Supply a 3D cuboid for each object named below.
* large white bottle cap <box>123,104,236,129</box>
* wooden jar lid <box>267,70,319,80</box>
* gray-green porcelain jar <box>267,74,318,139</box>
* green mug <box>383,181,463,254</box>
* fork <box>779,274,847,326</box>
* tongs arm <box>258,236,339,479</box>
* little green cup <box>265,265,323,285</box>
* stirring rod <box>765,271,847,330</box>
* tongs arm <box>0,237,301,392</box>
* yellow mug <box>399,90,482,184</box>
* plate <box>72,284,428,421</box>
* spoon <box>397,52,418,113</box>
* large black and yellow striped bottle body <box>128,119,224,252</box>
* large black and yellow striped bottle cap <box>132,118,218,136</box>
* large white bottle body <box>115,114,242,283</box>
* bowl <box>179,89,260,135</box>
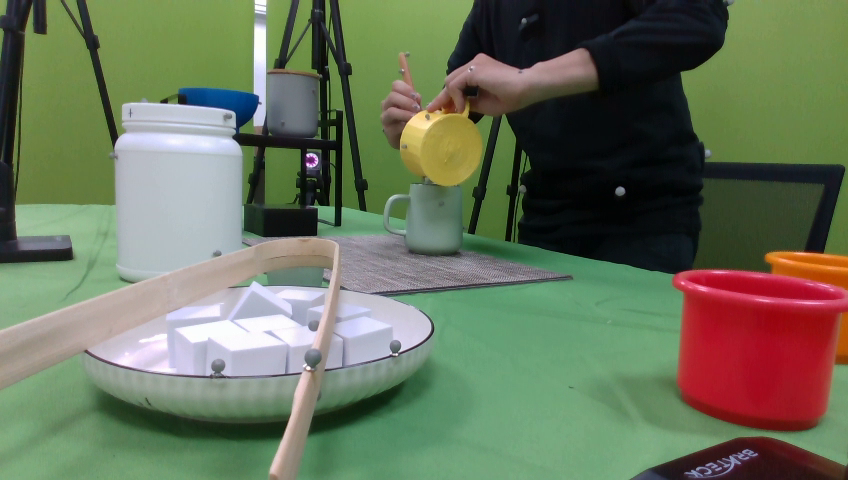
[{"bbox_3d":[-0.266,-0.135,0.663,0.115,0.018,0.115,3,7,0],"label":"large white bottle cap"},{"bbox_3d":[-0.275,-0.340,1.271,0.108,0.020,0.108,5,6,0],"label":"wooden jar lid"},{"bbox_3d":[-0.277,-0.279,1.280,0.106,0.126,0.106,2,7,0],"label":"gray-green porcelain jar"},{"bbox_3d":[-0.001,-0.036,0.922,0.126,0.105,0.092,0,8,-16],"label":"green mug"},{"bbox_3d":[0.332,0.018,0.443,0.028,0.018,0.207,-2,-35,-16],"label":"fork"},{"bbox_3d":[-0.074,0.040,0.345,0.051,0.026,0.384,-1,9,-3],"label":"tongs arm"},{"bbox_3d":[-0.134,0.033,0.628,0.061,0.038,0.061,3,7,0],"label":"little green cup"},{"bbox_3d":[0.352,0.020,0.481,0.176,0.006,0.014,-40,-8,17],"label":"stirring rod"},{"bbox_3d":[-0.158,0.038,0.347,0.028,0.028,0.388,-3,8,11],"label":"tongs arm"},{"bbox_3d":[0.028,-0.149,0.850,0.100,0.130,0.063,18,9,-32],"label":"yellow mug"},{"bbox_3d":[-0.102,0.066,0.380,0.208,0.039,0.207,3,7,0],"label":"plate"},{"bbox_3d":[-0.013,-0.193,0.908,0.041,0.193,0.021,-17,-12,2],"label":"spoon"},{"bbox_3d":[-0.361,-0.081,0.887,0.131,0.184,0.130,2,8,0],"label":"large black and yellow striped bottle body"},{"bbox_3d":[-0.359,-0.164,0.875,0.115,0.019,0.115,2,6,0],"label":"large black and yellow striped bottle cap"},{"bbox_3d":[-0.270,-0.051,0.673,0.131,0.184,0.130,2,8,0],"label":"large white bottle body"},{"bbox_3d":[-0.400,-0.248,1.188,0.151,0.077,0.151,2,7,0],"label":"bowl"}]
